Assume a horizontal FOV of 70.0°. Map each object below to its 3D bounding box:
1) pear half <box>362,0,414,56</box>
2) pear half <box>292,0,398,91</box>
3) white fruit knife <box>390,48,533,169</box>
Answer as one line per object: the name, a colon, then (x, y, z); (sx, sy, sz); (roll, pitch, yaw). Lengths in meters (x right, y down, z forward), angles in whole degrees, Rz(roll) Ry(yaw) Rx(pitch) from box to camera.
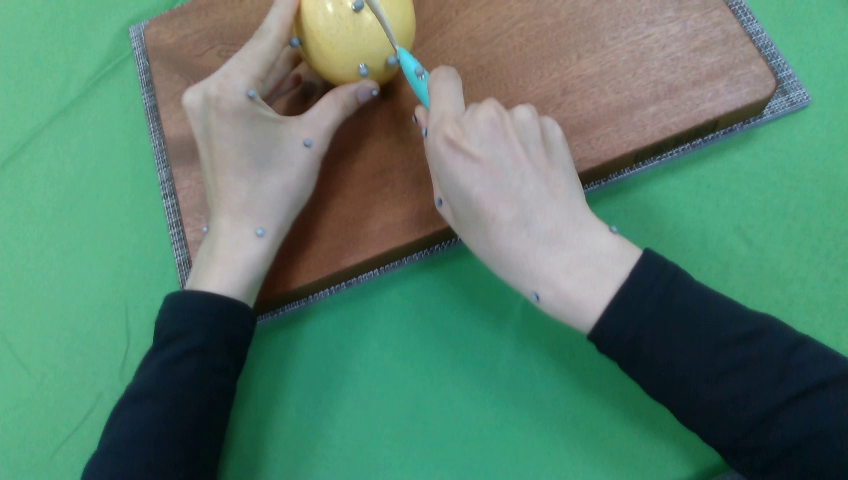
pear half: (-0.027, -0.157, 0.401); (0.031, 0.089, 0.070); (-39, 64, -11)
pear half: (-0.060, -0.139, 0.390); (0.056, 0.111, 0.075); (-41, 66, -3)
white fruit knife: (-0.012, -0.112, 0.392); (0.206, 0.027, 0.016); (41, 92, 18)
